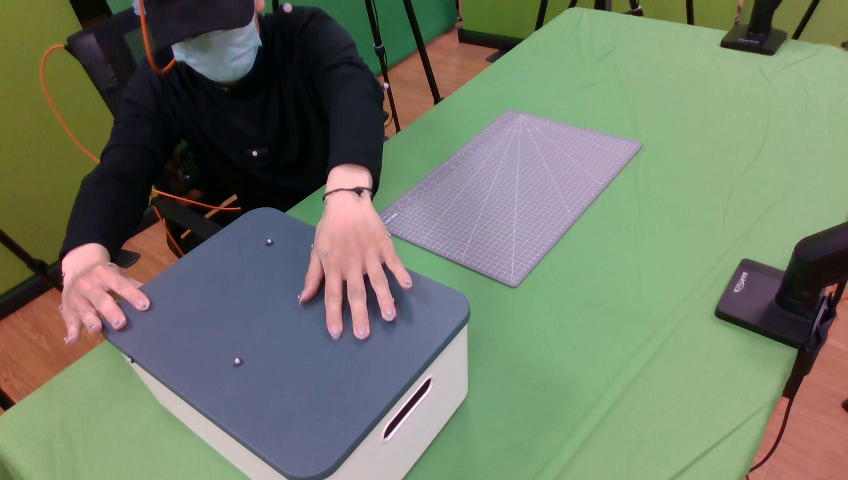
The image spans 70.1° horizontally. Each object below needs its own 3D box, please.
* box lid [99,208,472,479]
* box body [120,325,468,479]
[{"bbox_3d":[-0.161,0.083,0.675,0.368,0.015,0.264,22,48,30],"label":"box lid"},{"bbox_3d":[-0.151,0.140,0.721,0.361,0.161,0.255,22,49,30],"label":"box body"}]
